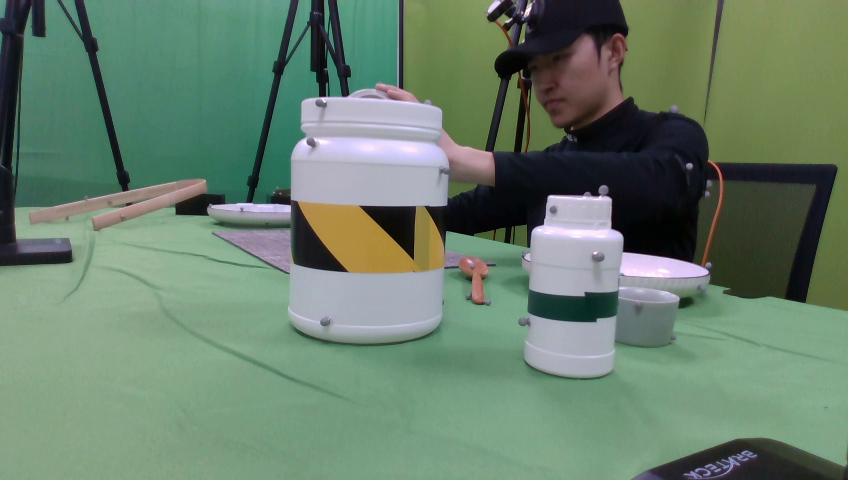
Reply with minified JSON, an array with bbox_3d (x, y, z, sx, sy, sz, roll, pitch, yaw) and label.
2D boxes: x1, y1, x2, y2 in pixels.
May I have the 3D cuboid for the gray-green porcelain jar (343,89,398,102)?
[{"bbox_3d":[-0.079,-0.156,0.908,0.106,0.105,0.126,2,-21,-1],"label":"gray-green porcelain jar"}]

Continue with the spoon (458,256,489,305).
[{"bbox_3d":[0.059,0.044,0.696,0.041,0.021,0.194,18,8,1],"label":"spoon"}]

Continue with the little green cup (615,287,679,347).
[{"bbox_3d":[0.180,0.064,0.506,0.061,0.038,0.061,2,8,0],"label":"little green cup"}]

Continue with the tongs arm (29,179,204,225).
[{"bbox_3d":[-0.609,-0.083,1.245,0.050,0.026,0.386,5,16,23],"label":"tongs arm"}]

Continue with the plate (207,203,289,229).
[{"bbox_3d":[-0.342,-0.050,1.259,0.208,0.039,0.207,2,7,0],"label":"plate"}]

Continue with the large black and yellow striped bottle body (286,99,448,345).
[{"bbox_3d":[-0.047,-0.018,0.501,0.131,0.184,0.130,2,7,0],"label":"large black and yellow striped bottle body"}]

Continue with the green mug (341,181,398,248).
[{"bbox_3d":[-0.089,-0.044,0.997,0.093,0.105,0.125,1,7,-8],"label":"green mug"}]

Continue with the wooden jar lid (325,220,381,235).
[{"bbox_3d":[-0.136,-0.025,1.162,0.108,0.020,0.108,3,8,0],"label":"wooden jar lid"}]

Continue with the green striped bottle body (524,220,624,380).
[{"bbox_3d":[0.104,0.031,0.422,0.063,0.119,0.063,2,8,0],"label":"green striped bottle body"}]

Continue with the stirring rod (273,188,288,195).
[{"bbox_3d":[-0.353,-0.122,1.518,0.006,0.014,0.176,1,6,1],"label":"stirring rod"}]

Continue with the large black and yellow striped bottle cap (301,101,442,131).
[{"bbox_3d":[-0.042,-0.100,0.491,0.115,0.019,0.115,1,8,0],"label":"large black and yellow striped bottle cap"}]

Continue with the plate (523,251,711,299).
[{"bbox_3d":[0.219,0.041,0.706,0.209,0.038,0.209,2,7,0],"label":"plate"}]

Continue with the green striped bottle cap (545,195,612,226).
[{"bbox_3d":[0.106,-0.020,0.414,0.044,0.020,0.044,2,4,0],"label":"green striped bottle cap"}]

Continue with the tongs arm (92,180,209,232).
[{"bbox_3d":[-0.534,-0.076,1.221,0.028,0.028,0.388,-2,15,12],"label":"tongs arm"}]
